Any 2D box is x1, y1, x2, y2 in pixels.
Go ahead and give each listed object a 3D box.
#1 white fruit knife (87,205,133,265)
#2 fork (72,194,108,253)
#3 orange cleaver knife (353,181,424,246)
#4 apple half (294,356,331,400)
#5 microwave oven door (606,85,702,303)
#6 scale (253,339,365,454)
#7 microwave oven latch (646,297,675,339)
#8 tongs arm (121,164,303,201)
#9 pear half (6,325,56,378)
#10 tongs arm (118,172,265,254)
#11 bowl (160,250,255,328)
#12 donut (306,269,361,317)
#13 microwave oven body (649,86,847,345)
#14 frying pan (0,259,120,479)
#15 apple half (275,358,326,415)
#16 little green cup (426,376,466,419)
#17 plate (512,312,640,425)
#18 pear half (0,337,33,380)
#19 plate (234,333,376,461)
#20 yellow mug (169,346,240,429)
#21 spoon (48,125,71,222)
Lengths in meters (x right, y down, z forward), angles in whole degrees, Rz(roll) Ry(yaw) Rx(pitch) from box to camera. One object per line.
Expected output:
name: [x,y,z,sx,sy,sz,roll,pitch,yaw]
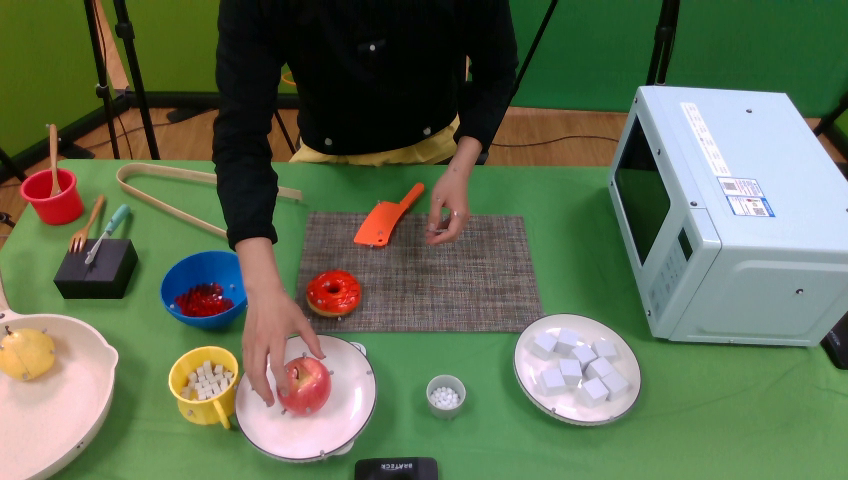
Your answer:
white fruit knife: [-0.584,-0.013,1.129,0.016,0.027,0.206,0,31,-5]
fork: [-0.634,-0.036,1.158,0.028,0.019,0.206,-7,32,-9]
orange cleaver knife: [-0.070,-0.059,1.246,0.077,0.012,0.210,18,50,21]
apple half: [-0.159,0.201,0.902,0.081,0.082,0.033,37,58,27]
microwave oven door: [0.422,-0.094,1.140,0.039,0.245,0.353,2,46,-1]
scale: [-0.175,0.236,0.951,0.149,0.032,0.199,4,46,0]
microwave oven latch: [0.412,0.134,1.061,0.030,0.029,0.078,4,45,1]
tongs arm: [-0.444,-0.114,1.267,0.384,0.026,0.050,12,50,8]
pear half: [-0.608,0.158,0.935,0.076,0.110,0.056,31,51,20]
tongs arm: [-0.473,-0.054,1.212,0.386,0.028,0.028,23,56,18]
bowl: [-0.362,0.098,1.039,0.151,0.077,0.150,2,45,-2]
donut: [-0.159,0.094,1.074,0.099,0.048,0.098,3,46,-3]
microwave oven body: [0.567,-0.053,1.118,0.326,0.261,0.439,2,45,-1]
frying pan: [-0.647,0.164,0.936,0.307,0.103,0.485,-19,58,-22]
apple half: [-0.186,0.221,0.883,0.080,0.075,0.053,38,58,25]
little green cup: [0.033,0.248,0.950,0.061,0.039,0.061,2,46,-2]
plate: [0.246,0.213,0.999,0.208,0.039,0.206,2,46,-2]
pear half: [-0.631,0.184,0.921,0.070,0.088,0.031,29,49,19]
plate: [-0.174,0.235,0.907,0.209,0.038,0.208,2,46,-2]
yellow mug: [-0.323,0.231,0.922,0.100,0.064,0.130,-24,53,-26]
spoon: [-0.718,-0.131,1.188,0.042,0.021,0.193,-3,90,-7]
